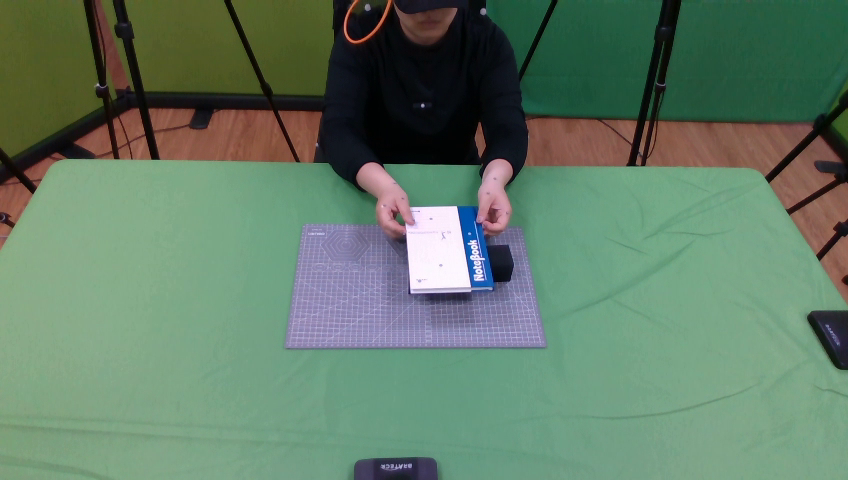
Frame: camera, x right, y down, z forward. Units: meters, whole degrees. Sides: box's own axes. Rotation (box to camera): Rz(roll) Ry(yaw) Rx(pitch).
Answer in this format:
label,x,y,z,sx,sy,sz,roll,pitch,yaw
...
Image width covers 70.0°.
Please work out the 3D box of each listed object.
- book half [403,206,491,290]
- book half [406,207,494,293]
label,x,y,z,sx,sy,sz,roll,pitch,yaw
book half,0.038,0.009,1.116,0.143,0.007,0.208,-1,46,-5
book half,0.041,0.014,1.122,0.149,0.016,0.209,-1,45,-5
